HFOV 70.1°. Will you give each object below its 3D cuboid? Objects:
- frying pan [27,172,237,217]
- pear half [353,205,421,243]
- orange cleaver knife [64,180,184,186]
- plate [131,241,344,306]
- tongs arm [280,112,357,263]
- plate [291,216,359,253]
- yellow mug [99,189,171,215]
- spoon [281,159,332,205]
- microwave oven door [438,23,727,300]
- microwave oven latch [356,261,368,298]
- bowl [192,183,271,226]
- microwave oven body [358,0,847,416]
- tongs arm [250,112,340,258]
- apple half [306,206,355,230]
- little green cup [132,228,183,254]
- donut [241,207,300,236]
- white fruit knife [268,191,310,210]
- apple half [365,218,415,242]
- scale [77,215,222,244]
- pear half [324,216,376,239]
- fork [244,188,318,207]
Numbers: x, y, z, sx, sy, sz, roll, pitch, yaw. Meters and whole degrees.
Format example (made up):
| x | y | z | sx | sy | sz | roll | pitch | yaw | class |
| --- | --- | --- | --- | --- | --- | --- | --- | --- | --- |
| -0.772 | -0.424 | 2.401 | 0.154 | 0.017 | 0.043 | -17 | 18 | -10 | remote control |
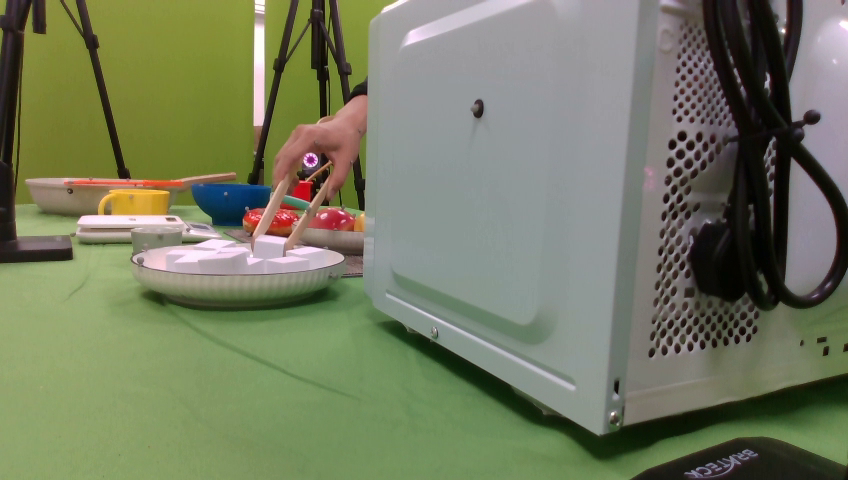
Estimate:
| x | y | z | sx | sy | sz | roll | pitch | yaw | class |
| --- | --- | --- | --- | --- | --- | --- | --- | --- | --- |
| -0.624 | -0.118 | 1.387 | 0.305 | 0.102 | 0.490 | 8 | 17 | 32 | frying pan |
| -0.052 | -0.024 | 0.905 | 0.110 | 0.056 | 0.076 | 1 | -2 | -38 | pear half |
| -0.595 | -0.114 | 1.212 | 0.212 | 0.012 | 0.077 | -4 | 6 | -41 | orange cleaver knife |
| -0.187 | 0.033 | 0.625 | 0.208 | 0.039 | 0.207 | 2 | 7 | 0 | plate |
| -0.145 | -0.090 | 0.824 | 0.051 | 0.026 | 0.384 | 12 | 34 | 4 | tongs arm |
| -0.103 | -0.009 | 0.945 | 0.209 | 0.038 | 0.209 | 2 | 8 | 0 | plate |
| -0.519 | -0.055 | 1.080 | 0.099 | 0.064 | 0.131 | 7 | 9 | 26 | yellow mug |
| -0.317 | -0.159 | 1.640 | 0.194 | 0.022 | 0.041 | -49 | 31 | -20 | spoon |
| 0.181 | -0.073 | 0.621 | 0.358 | 0.243 | 0.039 | -2 | 8 | -29 | microwave oven door |
| -0.020 | 0.033 | 0.530 | 0.079 | 0.029 | 0.030 | 0 | 7 | -26 | microwave oven latch |
| -0.382 | -0.071 | 1.202 | 0.151 | 0.077 | 0.151 | 3 | 7 | 0 | bowl |
| 0.210 | -0.047 | 0.475 | 0.444 | 0.260 | 0.324 | -1 | 7 | -28 | microwave oven body |
| -0.168 | -0.094 | 0.823 | 0.028 | 0.028 | 0.387 | 6 | 33 | 2 | tongs arm |
| -0.138 | -0.024 | 0.917 | 0.081 | 0.053 | 0.074 | 0 | 10 | -43 | apple half |
| -0.342 | 0.006 | 0.779 | 0.061 | 0.038 | 0.061 | 2 | 8 | 0 | little green cup |
| -0.263 | -0.031 | 1.039 | 0.099 | 0.048 | 0.099 | 5 | 9 | 0 | donut |
| -0.364 | -0.105 | 1.464 | 0.208 | 0.027 | 0.016 | 15 | -1 | -34 | white fruit knife |
| -0.053 | -0.019 | 0.966 | 0.081 | 0.033 | 0.081 | -3 | 12 | 1 | apple half |
| -0.434 | -0.019 | 0.963 | 0.202 | 0.031 | 0.148 | -1 | 9 | -27 | scale |
| -0.119 | -0.023 | 0.996 | 0.088 | 0.031 | 0.070 | -4 | 23 | -28 | pear half |
| -0.356 | -0.105 | 1.526 | 0.208 | 0.018 | 0.028 | 16 | -6 | -41 | fork |
